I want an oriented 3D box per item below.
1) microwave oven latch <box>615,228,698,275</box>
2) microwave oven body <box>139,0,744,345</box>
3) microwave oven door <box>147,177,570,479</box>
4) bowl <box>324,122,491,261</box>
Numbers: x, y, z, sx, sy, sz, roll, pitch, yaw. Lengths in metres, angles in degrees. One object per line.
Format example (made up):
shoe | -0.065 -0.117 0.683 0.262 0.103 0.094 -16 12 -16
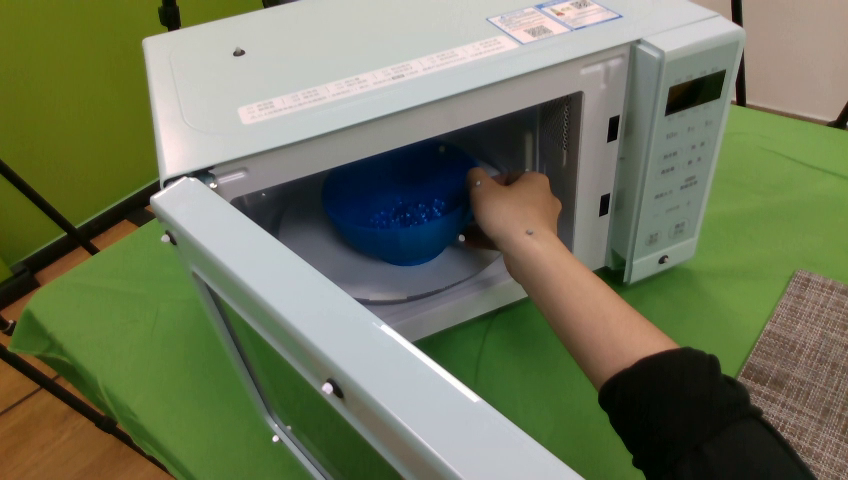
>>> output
microwave oven latch | 0.230 0.006 0.600 0.079 0.030 0.030 -19 42 -12
microwave oven body | -0.001 -0.091 0.602 0.442 0.263 0.322 -21 42 -13
microwave oven door | -0.025 0.126 0.344 0.039 0.246 0.352 -36 47 -28
bowl | -0.013 -0.032 0.573 0.151 0.077 0.150 -2 54 2
